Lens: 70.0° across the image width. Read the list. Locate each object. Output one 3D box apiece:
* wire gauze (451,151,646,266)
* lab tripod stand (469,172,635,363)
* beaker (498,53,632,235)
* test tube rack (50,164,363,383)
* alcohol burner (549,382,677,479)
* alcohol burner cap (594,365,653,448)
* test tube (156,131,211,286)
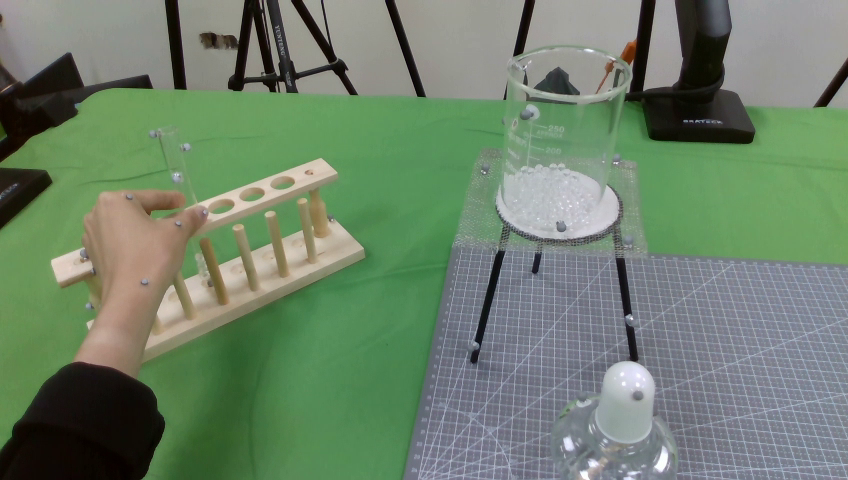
[{"bbox_3d":[0.089,-0.024,0.426,0.121,0.011,0.124,5,42,11],"label":"wire gauze"},{"bbox_3d":[0.100,0.026,0.468,0.148,0.132,0.147,-1,38,1],"label":"lab tripod stand"},{"bbox_3d":[0.083,-0.061,0.394,0.074,0.101,0.083,-29,46,-30],"label":"beaker"},{"bbox_3d":[-0.180,0.021,0.539,0.242,0.086,0.066,-26,43,-25],"label":"test tube rack"},{"bbox_3d":[0.116,0.120,0.367,0.078,0.120,0.077,-2,41,2],"label":"alcohol burner"},{"bbox_3d":[0.115,0.092,0.344,0.034,0.048,0.033,-4,38,4],"label":"alcohol burner cap"},{"bbox_3d":[-0.199,-0.021,0.513,0.017,0.151,0.017,-1,35,1],"label":"test tube"}]
